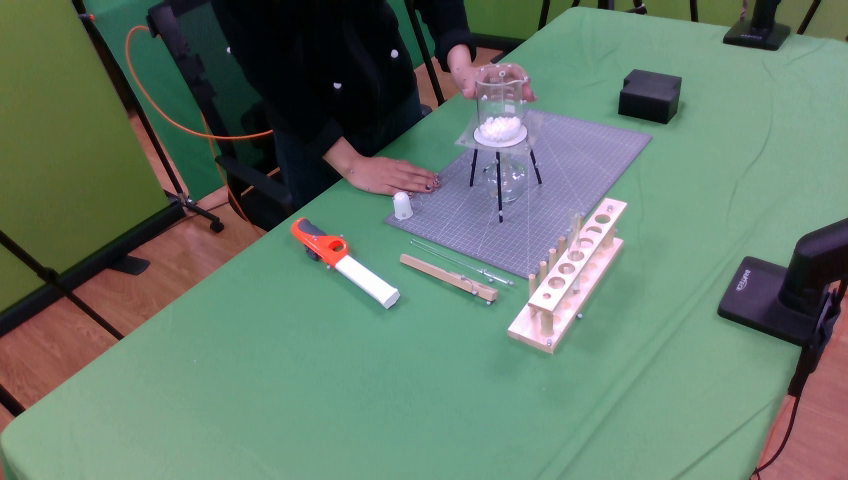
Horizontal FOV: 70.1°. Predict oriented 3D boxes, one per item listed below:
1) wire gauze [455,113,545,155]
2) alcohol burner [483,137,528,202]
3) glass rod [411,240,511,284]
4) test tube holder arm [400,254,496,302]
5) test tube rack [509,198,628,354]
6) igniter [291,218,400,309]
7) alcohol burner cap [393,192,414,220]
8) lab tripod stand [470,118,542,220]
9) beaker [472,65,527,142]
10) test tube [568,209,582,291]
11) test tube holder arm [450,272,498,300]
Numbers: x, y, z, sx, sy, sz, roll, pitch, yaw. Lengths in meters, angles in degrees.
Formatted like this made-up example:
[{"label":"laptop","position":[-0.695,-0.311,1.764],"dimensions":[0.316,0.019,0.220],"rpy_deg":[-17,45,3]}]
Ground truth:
[{"label":"wire gauze","position":[0.124,-0.175,0.973],"dimensions":[0.124,0.011,0.121],"rpy_deg":[8,39,21]},{"label":"alcohol burner","position":[0.138,-0.125,1.029],"dimensions":[0.078,0.119,0.077],"rpy_deg":[-4,41,4]},{"label":"glass rod","position":[0.053,0.033,0.946],"dimensions":[0.198,0.008,0.008],"rpy_deg":[22,50,36]},{"label":"test tube holder arm","position":[0.032,0.055,0.914],"dimensions":[0.177,0.015,0.013],"rpy_deg":[21,16,32]},{"label":"test tube rack","position":[0.206,0.039,0.850],"dimensions":[0.066,0.085,0.243],"rpy_deg":[20,48,31]},{"label":"igniter","position":[-0.136,0.031,0.970],"dimensions":[0.057,0.025,0.274],"rpy_deg":[-41,49,-19]},{"label":"alcohol burner cap","position":[-0.038,-0.061,1.043],"dimensions":[0.034,0.048,0.033],"rpy_deg":[-5,40,5]},{"label":"lab tripod stand","position":[0.135,-0.128,1.019],"dimensions":[0.148,0.132,0.147],"rpy_deg":[-5,38,5]},{"label":"beaker","position":[0.120,-0.211,0.942],"dimensions":[0.083,0.101,0.074],"rpy_deg":[10,42,21]},{"label":"test tube","position":[0.200,0.018,0.799],"dimensions":[0.017,0.151,0.017],"rpy_deg":[-8,45,8]},{"label":"test tube holder arm","position":[0.071,0.068,0.895],"dimensions":[0.087,0.015,0.010],"rpy_deg":[21,16,33]}]
